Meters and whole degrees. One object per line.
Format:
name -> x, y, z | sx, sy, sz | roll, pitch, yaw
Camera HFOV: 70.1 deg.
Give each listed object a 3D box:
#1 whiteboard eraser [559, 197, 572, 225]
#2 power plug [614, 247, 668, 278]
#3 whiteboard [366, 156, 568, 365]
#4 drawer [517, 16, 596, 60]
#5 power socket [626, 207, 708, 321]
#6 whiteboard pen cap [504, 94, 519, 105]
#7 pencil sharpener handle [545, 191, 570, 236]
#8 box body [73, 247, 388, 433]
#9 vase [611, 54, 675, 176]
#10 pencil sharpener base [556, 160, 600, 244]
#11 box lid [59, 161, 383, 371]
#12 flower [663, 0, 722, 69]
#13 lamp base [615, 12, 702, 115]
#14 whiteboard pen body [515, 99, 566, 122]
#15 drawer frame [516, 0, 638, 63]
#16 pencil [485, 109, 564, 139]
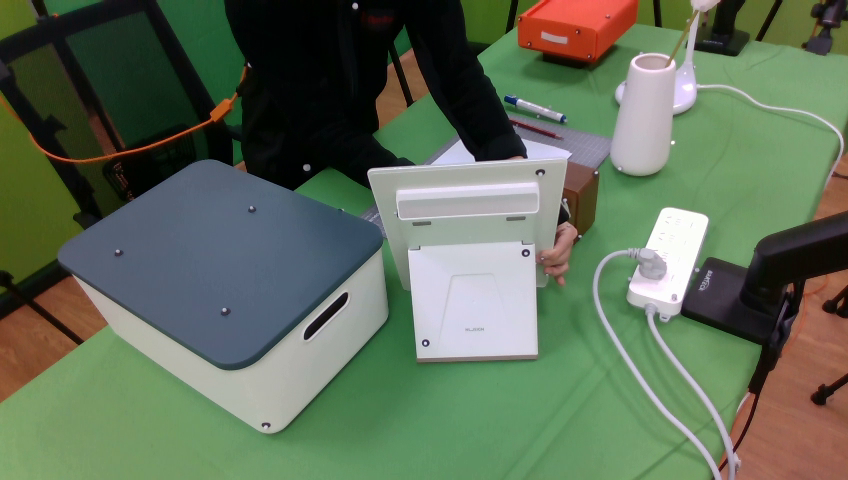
whiteboard eraser -> 0.127, -0.029, 0.772 | 0.112, 0.056, 0.041 | -17, 59, 25
power plug -> 0.306, 0.031, 0.851 | 0.072, 0.053, 0.035 | 24, 49, 33
whiteboard -> 0.059, 0.050, 0.738 | 0.217, 0.307, 0.143 | -2, 60, 6
drawer -> 0.352, -0.506, 1.405 | 0.193, 0.073, 0.212 | 23, 49, 32
power socket -> 0.359, 0.025, 0.886 | 0.072, 0.033, 0.227 | 16, 46, 26
whiteboard pen cap -> 0.190, -0.299, 1.292 | 0.033, 0.018, 0.018 | 30, 52, 28
pencil sharpener handle -> 0.195, -0.038, 0.908 | 0.035, 0.068, 0.031 | 24, 50, 31
box body -> -0.255, 0.065, 0.827 | 0.361, 0.161, 0.255 | 21, 48, 29
vase -> 0.377, -0.209, 1.031 | 0.098, 0.201, 0.097 | -3, 40, 3
pencil sharpener base -> 0.228, -0.057, 0.945 | 0.061, 0.107, 0.077 | 24, 50, 31
box lid -> -0.262, 0.010, 0.777 | 0.369, 0.015, 0.264 | 21, 48, 29
flower -> 0.379, -0.261, 0.965 | 0.044, 0.362, 0.038 | 21, 53, 5
lamp base -> 0.484, -0.363, 1.211 | 0.180, 0.181, 0.159 | -15, 41, -14
whiteboard pen body -> 0.233, -0.274, 1.262 | 0.139, 0.017, 0.017 | 28, 51, 29
drawer frame -> 0.355, -0.508, 1.410 | 0.200, 0.083, 0.214 | 23, 51, 32
pencil -> 0.201, -0.235, 1.228 | 0.192, 0.012, 0.012 | 28, 51, 33
